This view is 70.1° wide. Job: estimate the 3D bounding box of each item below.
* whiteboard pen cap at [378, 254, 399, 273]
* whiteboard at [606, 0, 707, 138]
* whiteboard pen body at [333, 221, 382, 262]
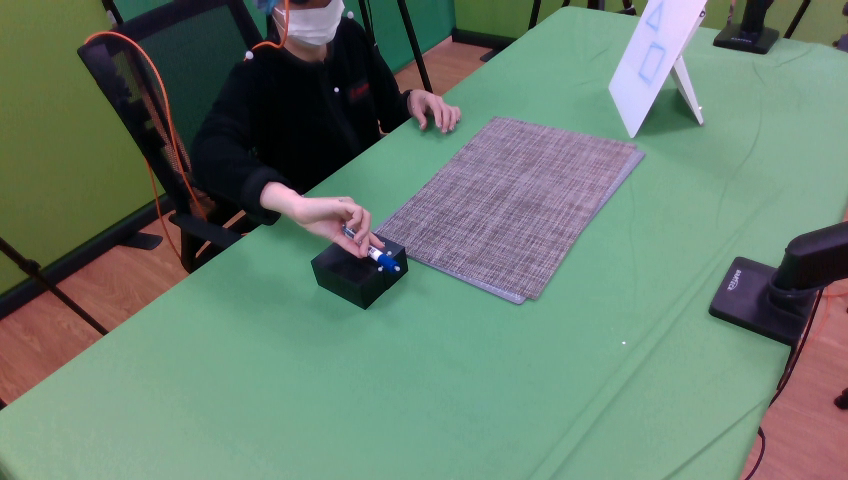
[{"bbox_3d":[-0.052,0.033,0.869,0.018,0.018,0.033,-34,46,-28],"label":"whiteboard pen cap"},{"bbox_3d":[0.496,-0.359,1.147,0.144,0.305,0.216,11,40,-7],"label":"whiteboard"},{"bbox_3d":[-0.094,0.006,0.905,0.017,0.017,0.139,-32,46,-27],"label":"whiteboard pen body"}]
